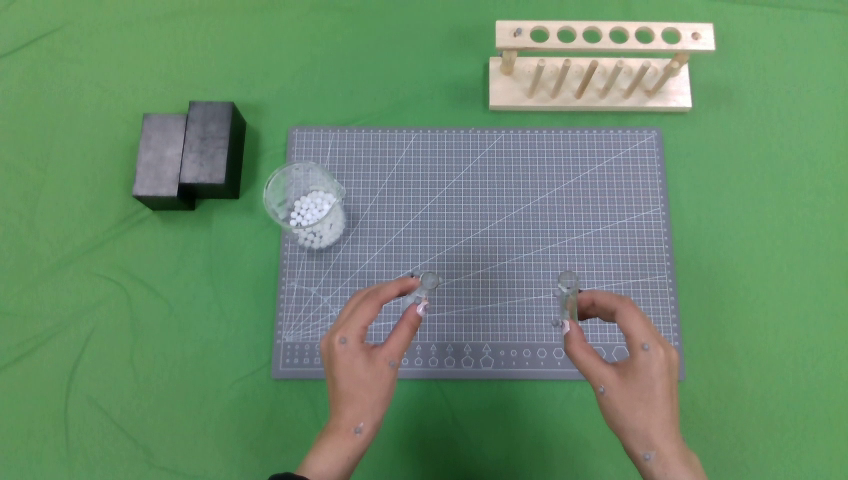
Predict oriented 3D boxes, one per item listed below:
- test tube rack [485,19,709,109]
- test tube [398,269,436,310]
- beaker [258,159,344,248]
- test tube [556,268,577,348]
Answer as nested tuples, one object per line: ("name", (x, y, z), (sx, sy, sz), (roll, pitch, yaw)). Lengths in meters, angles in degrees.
("test tube rack", (0.196, -0.204, 0.711), (0.242, 0.085, 0.066), (1, 75, 1))
("test tube", (-0.009, 0.047, 0.547), (0.017, 0.150, 0.017), (2, 76, -8))
("beaker", (-0.125, -0.036, 0.658), (0.084, 0.101, 0.073), (-7, 75, -2))
("test tube", (0.123, 0.063, 0.522), (0.017, 0.152, 0.017), (-6, 60, 10))
